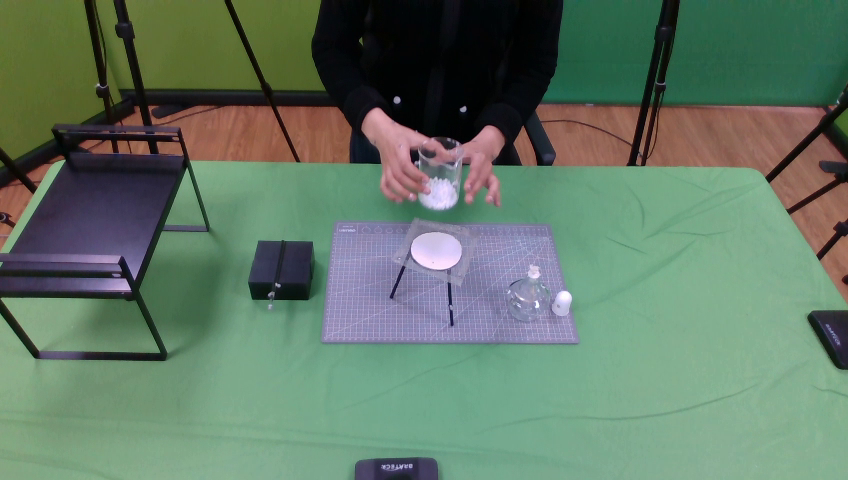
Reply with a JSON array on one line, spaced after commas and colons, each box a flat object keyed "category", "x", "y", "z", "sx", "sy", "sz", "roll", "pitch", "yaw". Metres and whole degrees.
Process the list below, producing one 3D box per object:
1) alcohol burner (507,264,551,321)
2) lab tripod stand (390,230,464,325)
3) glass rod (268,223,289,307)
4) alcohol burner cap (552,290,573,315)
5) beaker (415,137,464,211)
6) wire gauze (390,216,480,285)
[{"category": "alcohol burner", "x": 0.185, "y": 0.086, "z": 1.056, "sx": 0.078, "sy": 0.120, "sz": 0.077, "roll": 1, "pitch": 47, "yaw": -1}, {"category": "lab tripod stand", "x": 0.014, "y": 0.060, "z": 1.056, "sx": 0.148, "sy": 0.132, "sz": 0.147, "roll": 1, "pitch": 48, "yaw": -1}, {"category": "glass rod", "x": -0.259, "y": 0.041, "z": 1.080, "sx": 0.008, "sy": 0.008, "sz": 0.198, "roll": 2, "pitch": 46, "yaw": -2}, {"category": "alcohol burner cap", "x": 0.251, "y": 0.109, "z": 1.088, "sx": 0.034, "sy": 0.048, "sz": 0.033, "roll": 2, "pitch": 47, "yaw": -2}, {"category": "beaker", "x": 0.025, "y": -0.103, "z": 0.984, "sx": 0.074, "sy": 0.101, "sz": 0.083, "roll": -17, "pitch": 46, "yaw": -21}, {"category": "wire gauze", "x": 0.020, "y": 0.012, "z": 1.009, "sx": 0.125, "sy": 0.011, "sz": 0.121, "roll": 16, "pitch": 48, "yaw": 12}]
